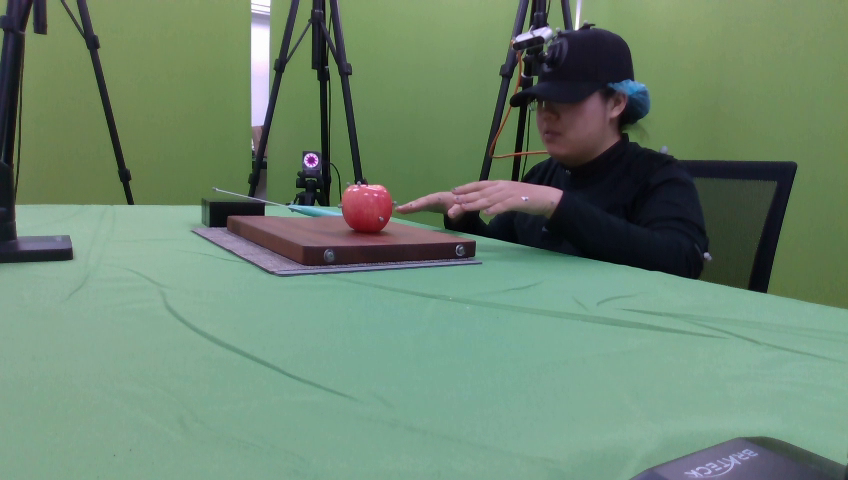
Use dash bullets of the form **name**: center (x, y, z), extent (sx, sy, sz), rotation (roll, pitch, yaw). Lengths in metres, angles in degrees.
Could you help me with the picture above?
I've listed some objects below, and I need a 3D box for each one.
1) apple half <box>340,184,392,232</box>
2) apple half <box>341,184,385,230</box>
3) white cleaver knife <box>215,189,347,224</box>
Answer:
- **apple half**: center (-0.084, -0.048, 0.936), extent (0.081, 0.074, 0.053), rotation (1, 11, -32)
- **apple half**: center (-0.103, -0.055, 0.969), extent (0.082, 0.081, 0.032), rotation (-2, 13, -32)
- **white cleaver knife**: center (-0.280, -0.067, 1.227), extent (0.288, 0.021, 0.065), rotation (11, 6, -29)
